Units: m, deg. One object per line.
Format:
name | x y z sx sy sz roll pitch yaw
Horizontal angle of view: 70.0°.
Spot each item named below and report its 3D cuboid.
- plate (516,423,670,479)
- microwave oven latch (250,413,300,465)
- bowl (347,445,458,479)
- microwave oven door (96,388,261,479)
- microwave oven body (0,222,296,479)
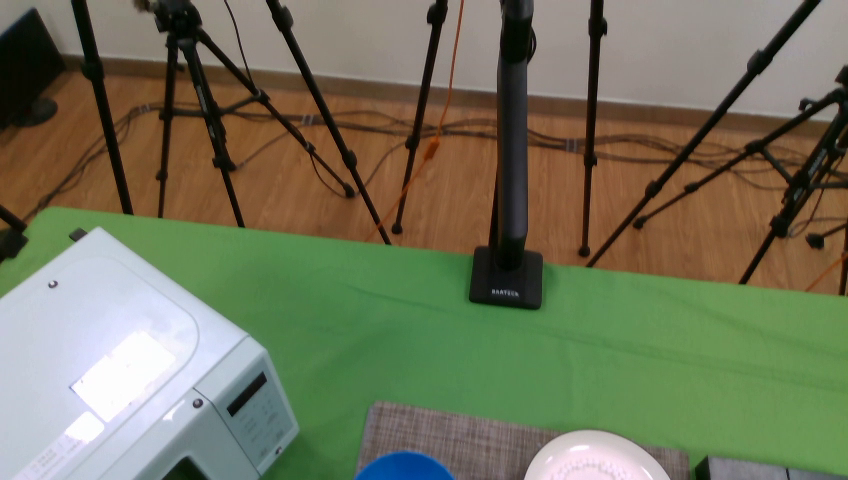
plate | 0.220 0.343 0.785 0.208 0.039 0.205 0 52 0
microwave oven latch | -0.205 0.266 0.826 0.030 0.030 0.079 32 59 22
bowl | -0.027 0.343 0.758 0.151 0.077 0.150 0 52 0
microwave oven door | -0.336 0.341 0.636 0.039 0.246 0.355 29 57 22
microwave oven body | -0.429 0.251 0.713 0.324 0.262 0.440 30 58 21
